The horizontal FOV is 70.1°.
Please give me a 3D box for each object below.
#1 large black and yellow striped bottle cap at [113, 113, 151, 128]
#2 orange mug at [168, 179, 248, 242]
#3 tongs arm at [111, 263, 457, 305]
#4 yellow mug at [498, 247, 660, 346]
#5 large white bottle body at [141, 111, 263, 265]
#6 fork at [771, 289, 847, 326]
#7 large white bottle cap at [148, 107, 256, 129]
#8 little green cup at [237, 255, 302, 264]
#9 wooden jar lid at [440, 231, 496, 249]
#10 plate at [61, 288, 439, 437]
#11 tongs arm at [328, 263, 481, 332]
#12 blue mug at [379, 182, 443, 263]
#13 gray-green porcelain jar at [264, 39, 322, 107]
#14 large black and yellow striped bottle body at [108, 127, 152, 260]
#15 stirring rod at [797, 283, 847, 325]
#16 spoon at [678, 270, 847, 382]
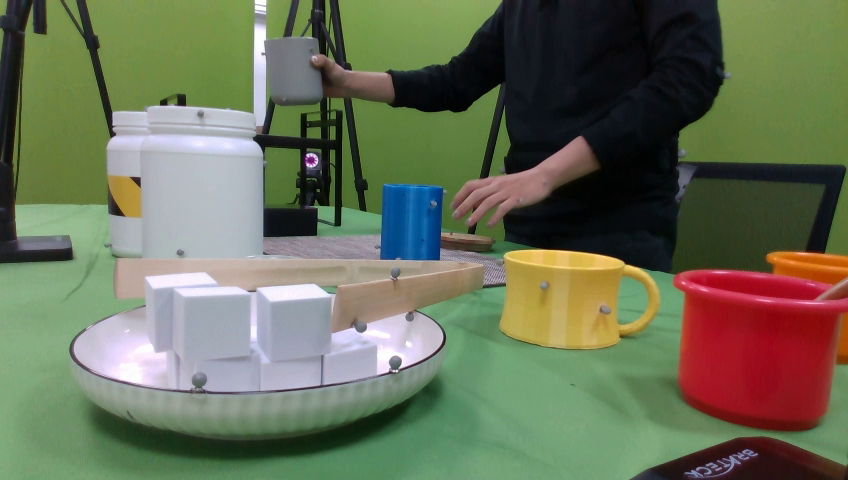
[{"bbox_3d":[-0.348,-0.154,0.800,0.115,0.019,0.115,2,6,0],"label":"large black and yellow striped bottle cap"},{"bbox_3d":[-0.351,-0.050,0.986,0.126,0.101,0.083,-3,8,-9],"label":"orange mug"},{"bbox_3d":[-0.080,0.033,0.527,0.028,0.027,0.389,-4,-4,33],"label":"tongs arm"},{"bbox_3d":[0.130,0.045,0.508,0.131,0.064,0.100,4,7,6],"label":"yellow mug"},{"bbox_3d":[-0.254,-0.054,0.697,0.131,0.184,0.130,2,7,0],"label":"large white bottle body"},{"bbox_3d":[0.335,0.018,0.443,0.028,0.018,0.207,-1,-36,-20],"label":"fork"},{"bbox_3d":[-0.250,-0.137,0.686,0.115,0.018,0.115,2,8,0],"label":"large white bottle cap"},{"bbox_3d":[-0.150,0.038,0.590,0.061,0.038,0.061,3,6,0],"label":"little green cup"},{"bbox_3d":[0.066,0.000,1.011,0.108,0.020,0.108,5,7,0],"label":"wooden jar lid"},{"bbox_3d":[-0.095,0.069,0.362,0.208,0.039,0.207,3,7,0],"label":"plate"},{"bbox_3d":[-0.003,0.036,0.493,0.050,0.026,0.386,1,-1,19],"label":"tongs arm"},{"bbox_3d":[-0.020,-0.026,0.833,0.082,0.106,0.116,1,7,-7],"label":"blue mug"},{"bbox_3d":[-0.261,-0.335,1.219,0.106,0.126,0.106,-3,13,1],"label":"gray-green porcelain jar"},{"bbox_3d":[-0.350,-0.071,0.812,0.131,0.184,0.130,2,7,0],"label":"large black and yellow striped bottle body"},{"bbox_3d":[0.347,0.019,0.460,0.014,0.176,0.006,-16,59,-25],"label":"stirring rod"},{"bbox_3d":[0.229,0.031,0.338,0.193,0.021,0.042,-44,-17,27],"label":"spoon"}]
